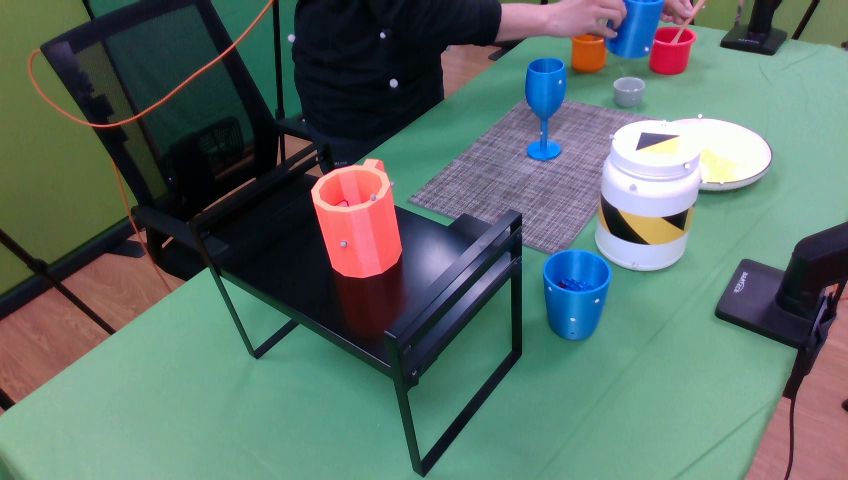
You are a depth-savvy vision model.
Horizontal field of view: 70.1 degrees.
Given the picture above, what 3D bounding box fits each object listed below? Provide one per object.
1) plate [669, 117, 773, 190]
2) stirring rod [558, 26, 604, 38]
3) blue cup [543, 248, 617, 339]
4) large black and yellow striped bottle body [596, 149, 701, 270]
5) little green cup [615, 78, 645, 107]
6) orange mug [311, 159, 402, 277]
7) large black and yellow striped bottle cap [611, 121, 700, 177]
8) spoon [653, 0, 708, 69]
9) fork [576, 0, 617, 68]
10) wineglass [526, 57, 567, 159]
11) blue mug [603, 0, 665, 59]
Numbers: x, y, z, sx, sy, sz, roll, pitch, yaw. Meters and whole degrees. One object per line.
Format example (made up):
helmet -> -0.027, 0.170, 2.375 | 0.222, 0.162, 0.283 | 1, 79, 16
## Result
plate -> 0.495, -0.148, 1.063 | 0.209, 0.038, 0.208 | -5, 40, 4
stirring rod -> 0.381, -0.462, 1.356 | 0.175, 0.006, 0.014 | 22, 49, 30
blue cup -> 0.199, 0.076, 0.797 | 0.092, 0.100, 0.092 | -4, 39, 4
large black and yellow striped bottle body -> 0.323, -0.062, 0.877 | 0.131, 0.185, 0.130 | -4, 40, 4
little green cup -> 0.426, -0.306, 1.257 | 0.061, 0.039, 0.061 | -5, 40, 4
orange mug -> -0.069, -0.034, 0.694 | 0.083, 0.101, 0.126 | 5, 46, 16
large black and yellow striped bottle cap -> 0.315, -0.126, 0.823 | 0.115, 0.019, 0.114 | -4, 42, 4
spoon -> 0.572, -0.460, 1.333 | 0.041, 0.022, 0.193 | 40, 103, 37
fork -> 0.409, -0.484, 1.381 | 0.028, 0.019, 0.207 | 36, 101, 44
wineglass -> 0.221, -0.236, 1.097 | 0.074, 0.173, 0.073 | -5, 41, 4
blue mug -> 0.375, -0.395, 1.109 | 0.117, 0.106, 0.081 | -25, 51, -21
